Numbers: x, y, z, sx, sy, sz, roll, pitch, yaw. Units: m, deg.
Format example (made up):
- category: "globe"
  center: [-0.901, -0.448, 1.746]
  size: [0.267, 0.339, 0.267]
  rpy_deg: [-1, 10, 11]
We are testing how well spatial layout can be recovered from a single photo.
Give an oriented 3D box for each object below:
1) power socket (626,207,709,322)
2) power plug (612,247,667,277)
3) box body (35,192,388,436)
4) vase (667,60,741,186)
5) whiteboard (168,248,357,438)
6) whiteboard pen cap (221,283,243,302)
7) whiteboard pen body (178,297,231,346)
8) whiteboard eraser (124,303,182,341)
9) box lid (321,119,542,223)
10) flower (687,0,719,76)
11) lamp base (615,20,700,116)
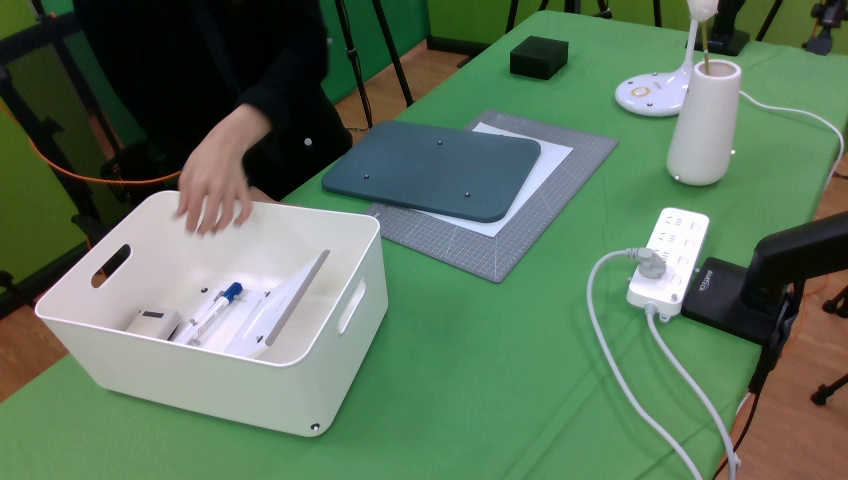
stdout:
- category: "power socket"
  center: [0.360, 0.026, 0.886]
  size: [0.072, 0.033, 0.227]
  rpy_deg: [17, 46, 27]
- category: "power plug"
  center: [0.306, 0.031, 0.852]
  size: [0.072, 0.053, 0.035]
  rpy_deg: [21, 48, 37]
- category: "box body"
  center: [-0.251, 0.088, 0.800]
  size: [0.362, 0.161, 0.254]
  rpy_deg: [7, 42, 16]
- category: "vase"
  center: [0.463, -0.189, 0.994]
  size: [0.098, 0.201, 0.097]
  rpy_deg: [-4, 40, 3]
- category: "whiteboard"
  center: [-0.242, 0.100, 0.799]
  size: [0.304, 0.144, 0.217]
  rpy_deg: [8, 44, 15]
- category: "whiteboard pen cap"
  center: [-0.278, 0.078, 0.874]
  size: [0.018, 0.018, 0.033]
  rpy_deg: [11, 41, 20]
- category: "whiteboard pen body"
  center: [-0.300, 0.113, 0.832]
  size: [0.017, 0.017, 0.141]
  rpy_deg: [11, 40, 20]
- category: "whiteboard eraser"
  center: [-0.384, 0.139, 0.829]
  size: [0.055, 0.042, 0.112]
  rpy_deg: [9, 41, 8]
- category: "box lid"
  center: [0.017, -0.141, 1.145]
  size: [0.369, 0.015, 0.263]
  rpy_deg: [12, 44, 22]
- category: "flower"
  center: [0.436, -0.242, 0.934]
  size: [0.038, 0.364, 0.043]
  rpy_deg: [-24, 49, 8]
- category: "lamp base"
  center: [0.484, -0.364, 1.211]
  size: [0.180, 0.181, 0.159]
  rpy_deg: [-15, 41, -14]
